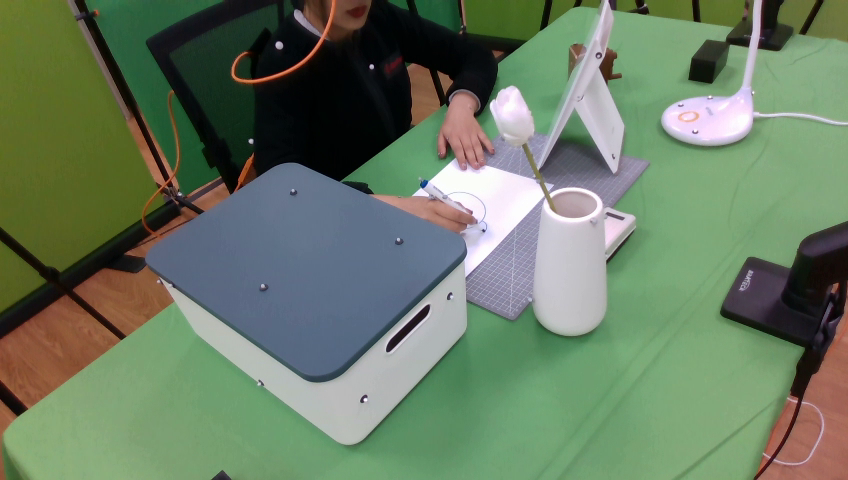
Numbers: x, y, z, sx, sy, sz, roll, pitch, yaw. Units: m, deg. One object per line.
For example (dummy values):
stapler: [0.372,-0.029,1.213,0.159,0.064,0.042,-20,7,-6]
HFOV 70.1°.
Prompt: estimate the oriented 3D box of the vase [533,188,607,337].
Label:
vase: [0.187,0.033,0.771,0.098,0.201,0.097,-6,41,6]

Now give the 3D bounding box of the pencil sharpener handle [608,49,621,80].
pencil sharpener handle: [0.394,-0.367,1.253,0.030,0.068,0.036,-8,32,1]

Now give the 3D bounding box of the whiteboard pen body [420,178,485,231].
whiteboard pen body: [0.048,-0.053,0.963,0.017,0.142,0.017,-40,28,27]

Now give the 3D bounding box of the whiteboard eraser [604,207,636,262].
whiteboard eraser: [0.272,-0.003,0.919,0.055,0.042,0.113,27,51,32]

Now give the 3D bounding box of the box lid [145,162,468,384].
box lid: [-0.157,0.014,0.770,0.368,0.015,0.264,25,51,33]

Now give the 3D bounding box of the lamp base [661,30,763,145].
lamp base: [0.535,-0.287,1.096,0.179,0.181,0.159,-10,40,-4]

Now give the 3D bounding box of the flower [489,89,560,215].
flower: [0.159,-0.028,0.720,0.038,0.364,0.044,-15,44,23]

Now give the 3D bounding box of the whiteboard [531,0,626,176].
whiteboard: [0.320,-0.259,1.051,0.144,0.306,0.217,22,45,6]

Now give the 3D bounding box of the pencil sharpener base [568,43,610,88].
pencil sharpener base: [0.345,-0.352,1.263,0.077,0.107,0.061,-8,40,1]

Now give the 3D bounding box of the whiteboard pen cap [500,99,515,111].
whiteboard pen cap: [0.177,-0.287,1.290,0.033,0.018,0.018,-37,47,-26]

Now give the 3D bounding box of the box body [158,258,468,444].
box body: [-0.147,0.072,0.816,0.361,0.161,0.255,24,50,33]
